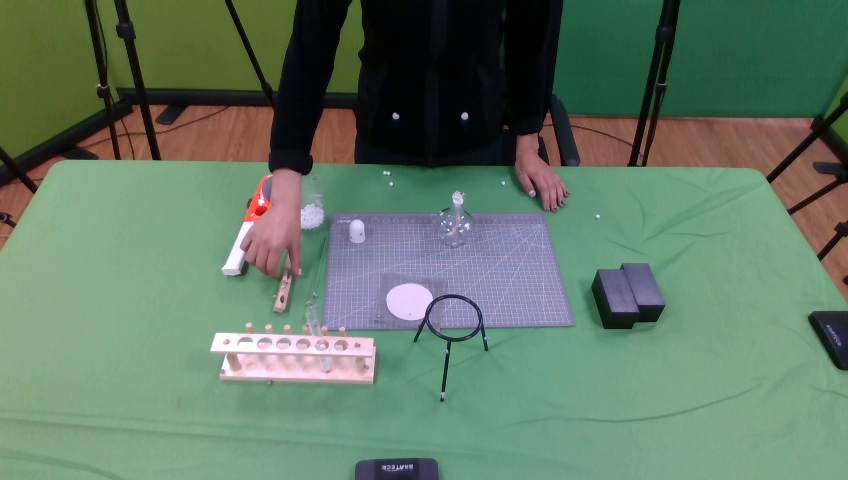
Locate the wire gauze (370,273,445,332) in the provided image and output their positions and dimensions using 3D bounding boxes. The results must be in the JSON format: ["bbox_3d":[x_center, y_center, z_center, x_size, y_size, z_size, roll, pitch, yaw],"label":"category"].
[{"bbox_3d":[-0.028,0.109,1.099,0.125,0.011,0.121,7,45,4],"label":"wire gauze"}]

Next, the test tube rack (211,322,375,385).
[{"bbox_3d":[-0.203,0.176,0.969,0.242,0.085,0.066,3,46,-2],"label":"test tube rack"}]

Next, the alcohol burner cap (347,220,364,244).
[{"bbox_3d":[-0.135,-0.019,1.190,0.034,0.048,0.033,2,45,-2],"label":"alcohol burner cap"}]

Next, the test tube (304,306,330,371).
[{"bbox_3d":[-0.162,0.153,0.925,0.017,0.151,0.017,-2,44,2],"label":"test tube"}]

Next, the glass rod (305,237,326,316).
[{"bbox_3d":[-0.201,0.063,1.131,0.008,0.008,0.198,4,44,0],"label":"glass rod"}]

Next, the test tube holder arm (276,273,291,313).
[{"bbox_3d":[-0.253,0.094,1.093,0.010,0.015,0.087,27,39,-25],"label":"test tube holder arm"}]

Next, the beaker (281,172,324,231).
[{"bbox_3d":[-0.234,-0.073,1.199,0.084,0.101,0.074,24,50,17],"label":"beaker"}]

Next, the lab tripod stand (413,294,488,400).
[{"bbox_3d":[0.045,0.159,0.972,0.148,0.132,0.147,2,44,-2],"label":"lab tripod stand"}]

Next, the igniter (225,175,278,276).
[{"bbox_3d":[-0.340,-0.039,1.206,0.057,0.025,0.275,-2,45,8],"label":"igniter"}]

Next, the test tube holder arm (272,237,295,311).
[{"bbox_3d":[-0.258,0.060,1.123,0.013,0.015,0.177,27,39,-25],"label":"test tube holder arm"}]

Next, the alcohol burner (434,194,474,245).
[{"bbox_3d":[0.061,-0.046,1.182,0.078,0.119,0.077,3,47,-3],"label":"alcohol burner"}]
